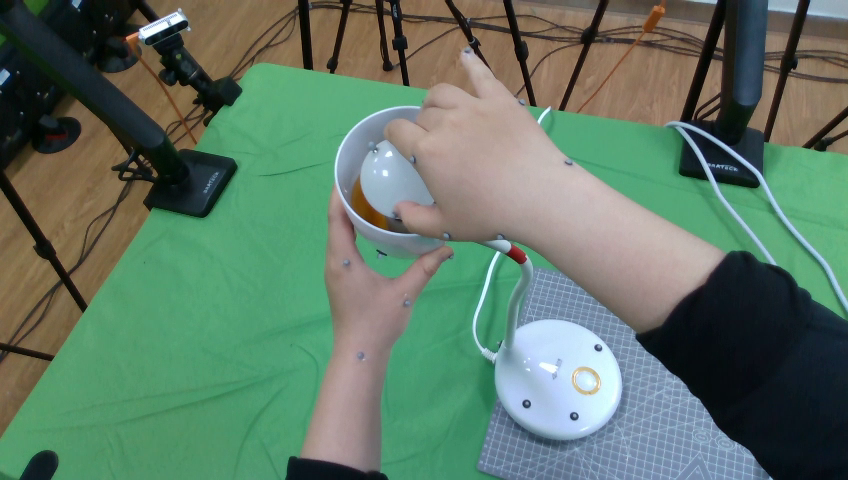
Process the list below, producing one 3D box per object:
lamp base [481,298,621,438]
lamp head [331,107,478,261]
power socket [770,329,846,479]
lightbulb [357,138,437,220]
[{"bbox_3d":[0.149,0.131,0.717,0.178,0.182,0.159,7,58,14],"label":"lamp base"},{"bbox_3d":[-0.011,-0.031,0.502,0.112,0.124,0.111,-1,66,3],"label":"lamp head"},{"bbox_3d":[0.455,0.208,0.722,0.072,0.033,0.225,12,59,13],"label":"power socket"},{"bbox_3d":[-0.018,-0.039,0.469,0.059,0.108,0.059,-1,76,3],"label":"lightbulb"}]
